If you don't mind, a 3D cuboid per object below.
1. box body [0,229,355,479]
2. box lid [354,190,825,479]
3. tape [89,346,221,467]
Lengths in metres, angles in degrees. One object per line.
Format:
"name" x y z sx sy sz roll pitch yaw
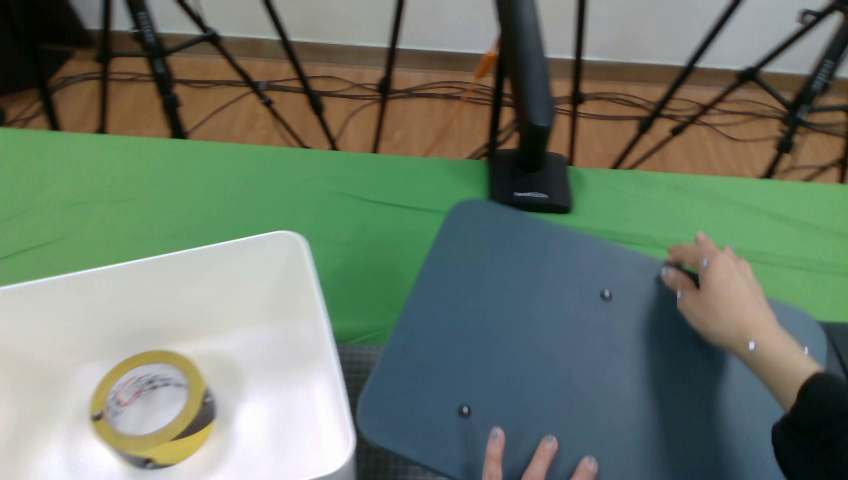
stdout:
"box body" -0.259 0.163 0.564 0.365 0.162 0.251 -12 53 -12
"box lid" 0.153 0.111 0.521 0.371 0.015 0.262 20 61 7
"tape" -0.275 0.169 0.622 0.117 0.053 0.115 2 50 -2
